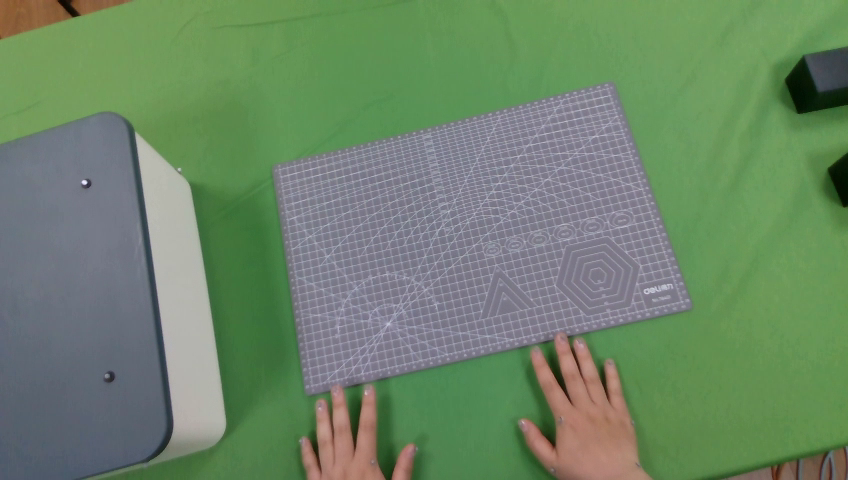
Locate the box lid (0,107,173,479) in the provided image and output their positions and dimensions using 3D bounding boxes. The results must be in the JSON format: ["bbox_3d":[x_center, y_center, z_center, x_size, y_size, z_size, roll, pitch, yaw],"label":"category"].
[{"bbox_3d":[-0.396,0.054,0.602,0.263,0.015,0.369,-16,74,2],"label":"box lid"}]

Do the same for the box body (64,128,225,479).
[{"bbox_3d":[-0.387,0.077,0.672,0.254,0.161,0.361,-16,73,1],"label":"box body"}]
